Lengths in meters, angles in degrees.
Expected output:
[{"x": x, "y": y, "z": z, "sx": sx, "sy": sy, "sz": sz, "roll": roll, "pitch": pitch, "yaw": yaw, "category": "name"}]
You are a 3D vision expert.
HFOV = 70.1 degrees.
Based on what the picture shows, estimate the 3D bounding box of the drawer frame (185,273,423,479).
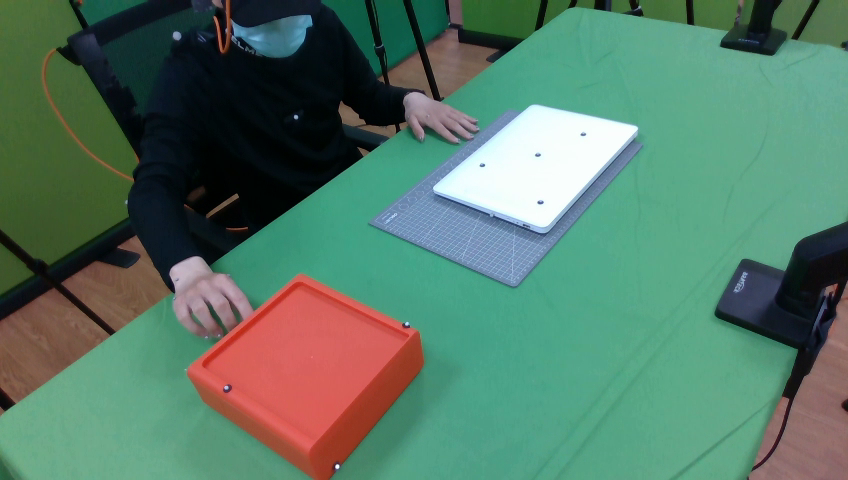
[{"x": -0.145, "y": 0.158, "z": 0.760, "sx": 0.212, "sy": 0.083, "sz": 0.202, "roll": 22, "pitch": 47, "yaw": 28, "category": "drawer frame"}]

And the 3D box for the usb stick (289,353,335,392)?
[{"x": -0.146, "y": 0.172, "z": 0.774, "sx": 0.059, "sy": 0.027, "sz": 0.021, "roll": -29, "pitch": 44, "yaw": -24, "category": "usb stick"}]

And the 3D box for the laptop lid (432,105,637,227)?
[{"x": 0.207, "y": -0.152, "z": 1.105, "sx": 0.239, "sy": 0.013, "sz": 0.358, "roll": 23, "pitch": 49, "yaw": 34, "category": "laptop lid"}]

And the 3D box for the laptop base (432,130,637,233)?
[{"x": 0.210, "y": -0.142, "z": 1.111, "sx": 0.233, "sy": 0.023, "sz": 0.355, "roll": 21, "pitch": 48, "yaw": 34, "category": "laptop base"}]

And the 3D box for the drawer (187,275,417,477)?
[{"x": -0.148, "y": 0.159, "z": 0.760, "sx": 0.210, "sy": 0.073, "sz": 0.195, "roll": 22, "pitch": 47, "yaw": 29, "category": "drawer"}]
